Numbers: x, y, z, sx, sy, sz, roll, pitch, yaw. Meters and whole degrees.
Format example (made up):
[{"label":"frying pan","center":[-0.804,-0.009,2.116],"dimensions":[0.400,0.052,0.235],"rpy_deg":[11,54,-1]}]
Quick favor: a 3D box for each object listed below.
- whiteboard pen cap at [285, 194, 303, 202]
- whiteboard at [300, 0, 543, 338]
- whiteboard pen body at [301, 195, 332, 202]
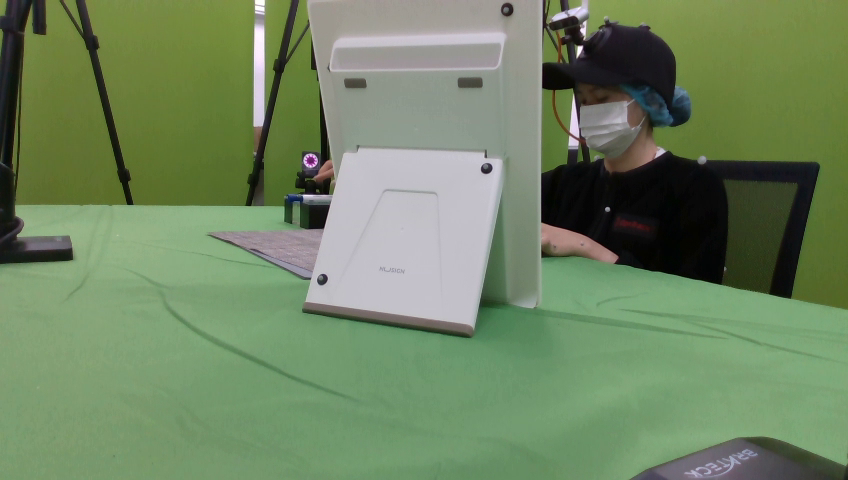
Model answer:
[{"label":"whiteboard pen cap","center":[-0.261,-0.085,1.218],"dimensions":[0.033,0.018,0.018],"rpy_deg":[-4,10,-37]},{"label":"whiteboard","center":[-0.020,-0.050,0.523],"dimensions":[0.216,0.305,0.144],"rpy_deg":[6,27,22]},{"label":"whiteboard pen body","center":[-0.211,-0.086,1.253],"dimensions":[0.141,0.017,0.017],"rpy_deg":[-2,9,-36]}]
